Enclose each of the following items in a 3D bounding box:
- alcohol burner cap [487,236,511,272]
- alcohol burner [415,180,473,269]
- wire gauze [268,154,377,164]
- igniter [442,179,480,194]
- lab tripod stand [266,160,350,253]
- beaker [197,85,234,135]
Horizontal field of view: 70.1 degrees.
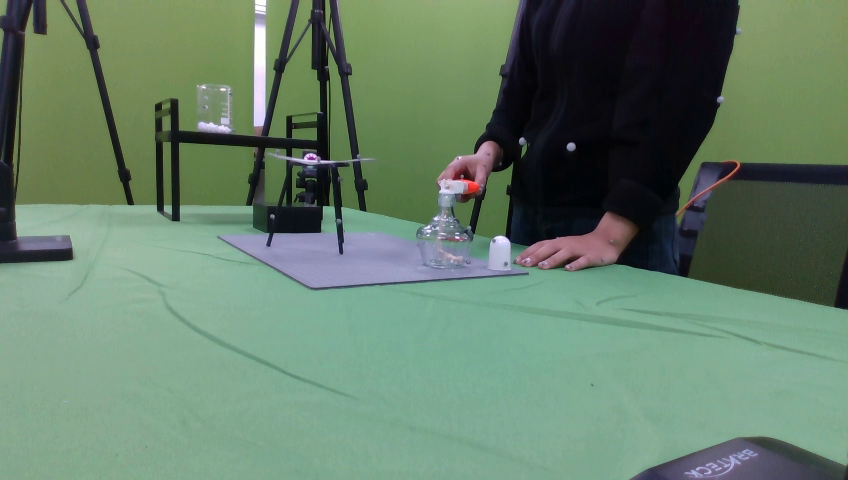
[{"bbox_3d":[0.101,0.019,0.802,0.034,0.048,0.034,3,7,0],"label":"alcohol burner cap"},{"bbox_3d":[0.028,-0.021,0.807,0.078,0.119,0.078,3,5,0],"label":"alcohol burner"},{"bbox_3d":[-0.154,-0.120,0.910,0.122,0.011,0.124,-5,11,-44],"label":"wire gauze"},{"bbox_3d":[0.058,-0.084,0.954,0.057,0.025,0.277,2,5,7],"label":"igniter"},{"bbox_3d":[-0.163,-0.054,0.915,0.148,0.131,0.148,2,9,0],"label":"lab tripod stand"},{"bbox_3d":[-0.444,-0.275,1.283,0.074,0.100,0.084,5,8,22],"label":"beaker"}]
